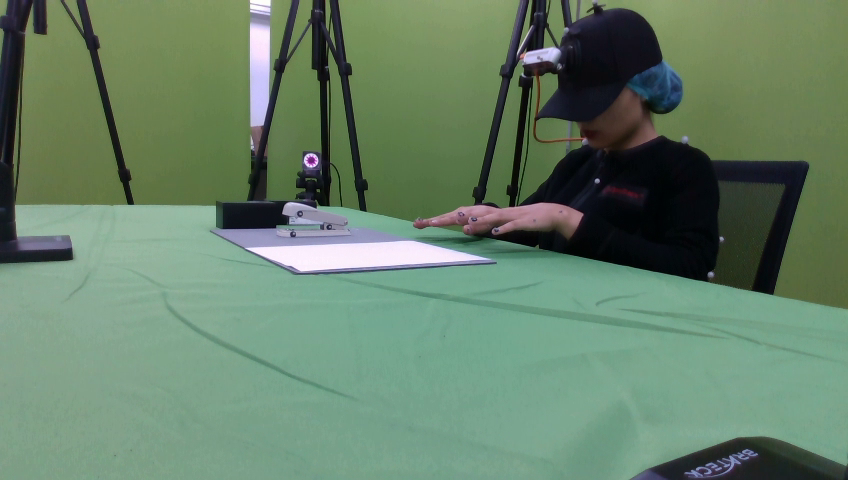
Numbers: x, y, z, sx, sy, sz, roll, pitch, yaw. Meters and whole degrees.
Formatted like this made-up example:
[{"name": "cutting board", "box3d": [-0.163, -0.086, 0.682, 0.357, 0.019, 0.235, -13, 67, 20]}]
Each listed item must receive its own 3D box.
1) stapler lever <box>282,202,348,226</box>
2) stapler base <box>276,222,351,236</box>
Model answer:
[{"name": "stapler lever", "box3d": [-0.193, -0.045, 1.073, 0.119, 0.040, 0.026, 0, 10, -33]}, {"name": "stapler base", "box3d": [-0.196, -0.021, 1.075, 0.131, 0.024, 0.041, 0, 10, -33]}]
